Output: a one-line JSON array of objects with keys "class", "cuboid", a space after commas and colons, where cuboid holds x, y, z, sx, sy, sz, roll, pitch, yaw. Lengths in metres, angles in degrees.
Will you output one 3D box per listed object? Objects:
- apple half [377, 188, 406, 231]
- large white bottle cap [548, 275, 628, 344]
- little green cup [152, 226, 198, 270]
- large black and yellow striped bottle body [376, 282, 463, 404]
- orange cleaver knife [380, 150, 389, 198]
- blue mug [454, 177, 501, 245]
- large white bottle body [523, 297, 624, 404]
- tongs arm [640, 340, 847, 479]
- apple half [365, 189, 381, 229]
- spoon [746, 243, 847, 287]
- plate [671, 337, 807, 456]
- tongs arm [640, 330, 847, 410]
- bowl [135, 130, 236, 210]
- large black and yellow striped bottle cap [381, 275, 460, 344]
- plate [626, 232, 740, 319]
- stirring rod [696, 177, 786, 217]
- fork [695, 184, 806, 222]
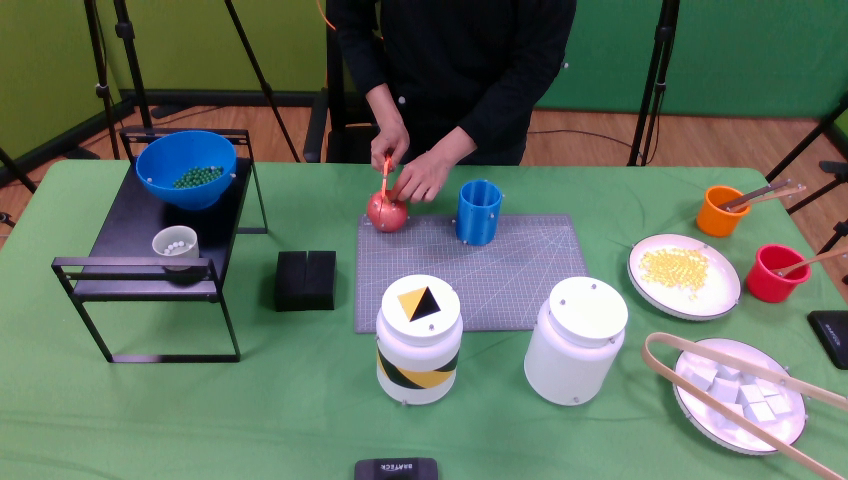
[{"class": "apple half", "cuboid": [-0.062, -0.057, 1.208, 0.053, 0.075, 0.080, 9, 41, -1]}, {"class": "large white bottle cap", "cuboid": [0.240, 0.100, 0.890, 0.115, 0.018, 0.114, 3, 47, -3]}, {"class": "little green cup", "cuboid": [-0.364, 0.013, 0.894, 0.061, 0.039, 0.061, 3, 46, -3]}, {"class": "large black and yellow striped bottle body", "cuboid": [-0.010, 0.155, 0.937, 0.131, 0.185, 0.130, 2, 47, -2]}, {"class": "orange cleaver knife", "cuboid": [-0.078, -0.131, 1.187, 0.012, 0.077, 0.210, 5, 18, -3]}, {"class": "blue mug", "cuboid": [0.106, -0.067, 1.208, 0.082, 0.106, 0.116, 5, 46, 1]}, {"class": "large white bottle body", "cuboid": [0.235, 0.159, 0.952, 0.131, 0.185, 0.130, 2, 47, -2]}, {"class": "tongs arm", "cuboid": [0.500, 0.277, 0.919, 0.386, 0.028, 0.028, 34, 59, 22]}, {"class": "apple half", "cuboid": [-0.102, -0.062, 1.207, 0.033, 0.081, 0.081, 8, 46, -3]}, {"class": "spoon", "cuboid": [0.702, 0.044, 1.126, 0.194, 0.022, 0.041, -29, 38, 30]}, {"class": "plate", "cuboid": [0.504, 0.254, 0.984, 0.208, 0.039, 0.206, 2, 46, -2]}, {"class": "tongs arm", "cuboid": [0.543, 0.225, 0.969, 0.384, 0.026, 0.050, 22, 52, 13]}, {"class": "bowl", "cuboid": [-0.375, -0.102, 0.978, 0.151, 0.077, 0.150, 3, 46, -2]}, {"class": "large black and yellow striped bottle cap", "cuboid": [-0.005, 0.099, 0.875, 0.115, 0.019, 0.114, 2, 45, -2]}, {"class": "plate", "cuboid": [0.489, 0.071, 1.157, 0.209, 0.038, 0.208, 3, 46, -3]}, {"class": "stirring rod", "cuboid": [0.648, -0.087, 1.244, 0.176, 0.006, 0.014, -25, 51, 29]}, {"class": "fork", "cuboid": [0.658, -0.074, 1.229, 0.207, 0.019, 0.028, -24, 33, 36]}]
